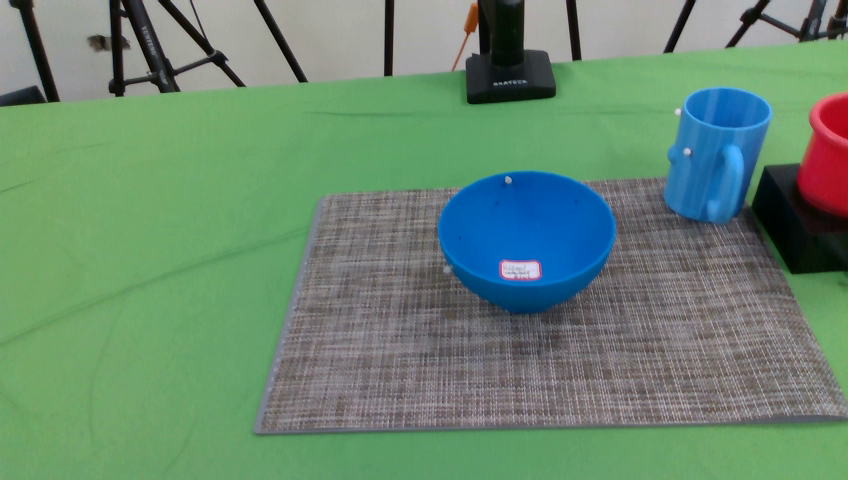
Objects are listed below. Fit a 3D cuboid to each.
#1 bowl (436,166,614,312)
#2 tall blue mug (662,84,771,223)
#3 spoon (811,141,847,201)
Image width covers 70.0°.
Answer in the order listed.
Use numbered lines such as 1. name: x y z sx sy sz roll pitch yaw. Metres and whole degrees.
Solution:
1. bowl: 0.088 0.011 0.540 0.151 0.077 0.150 -4 43 4
2. tall blue mug: 0.285 -0.075 0.580 0.078 0.109 0.106 -17 43 -10
3. spoon: 0.399 -0.118 0.515 0.041 0.022 0.194 38 103 40
